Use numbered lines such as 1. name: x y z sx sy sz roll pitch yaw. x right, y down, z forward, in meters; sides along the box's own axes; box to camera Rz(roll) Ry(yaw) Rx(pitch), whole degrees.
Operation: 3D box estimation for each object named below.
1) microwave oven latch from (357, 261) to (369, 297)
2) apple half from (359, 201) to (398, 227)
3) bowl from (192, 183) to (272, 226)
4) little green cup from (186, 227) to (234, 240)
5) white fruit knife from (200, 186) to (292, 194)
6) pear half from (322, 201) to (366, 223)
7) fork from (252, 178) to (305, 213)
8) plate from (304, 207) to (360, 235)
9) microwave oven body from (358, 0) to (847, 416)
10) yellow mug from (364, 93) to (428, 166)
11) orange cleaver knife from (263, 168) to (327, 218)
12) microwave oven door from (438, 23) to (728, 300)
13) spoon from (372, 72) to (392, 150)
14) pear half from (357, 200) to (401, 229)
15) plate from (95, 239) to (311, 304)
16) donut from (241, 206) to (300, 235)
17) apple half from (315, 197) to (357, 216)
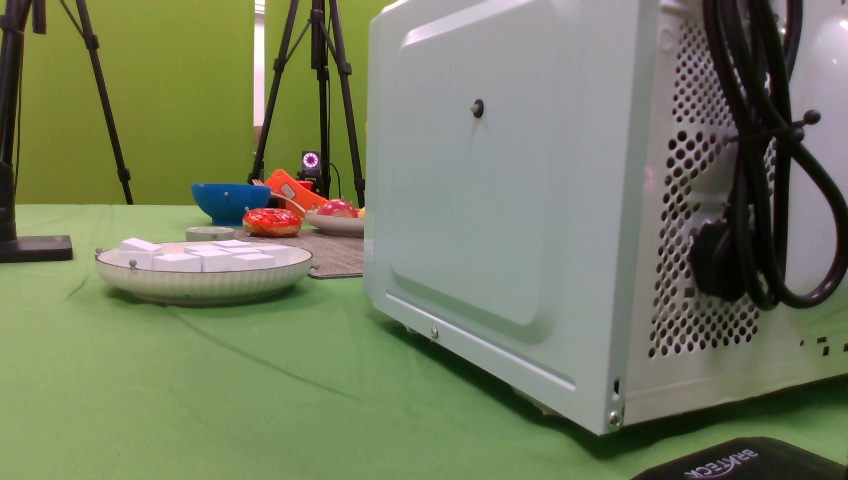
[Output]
1. microwave oven latch: -0.019 0.033 0.530 0.079 0.029 0.030 -1 7 -26
2. apple half: -0.088 -0.058 1.190 0.081 0.033 0.081 10 29 -5
3. bowl: -0.381 -0.070 1.202 0.151 0.077 0.151 3 7 0
4. little green cup: -0.285 0.005 0.805 0.061 0.038 0.061 2 8 0
5. white fruit knife: -0.399 -0.111 1.368 0.208 0.016 0.027 -4 -19 -30
6. pear half: -0.157 -0.059 1.197 0.088 0.031 0.070 12 30 -4
7. fork: -0.295 -0.084 1.292 0.206 0.018 0.028 29 10 25
8. plate: -0.123 -0.037 1.149 0.209 0.038 0.209 2 7 0
9. microwave oven body: 0.211 -0.047 0.474 0.444 0.260 0.324 -1 7 -28
10. yellow mug: -0.050 -0.198 1.053 0.100 0.131 0.064 -13 52 -11
11. orange cleaver knife: -0.262 -0.088 1.353 0.211 0.077 0.012 28 13 -1
12. microwave oven door: 0.181 -0.072 0.621 0.358 0.243 0.039 -2 8 -29
13. spoon: -0.081 -0.243 1.126 0.042 0.193 0.021 21 -38 -39
14. pear half: -0.075 -0.046 1.132 0.076 0.056 0.110 13 5 30
15. plate: -0.224 0.031 0.629 0.208 0.039 0.207 2 8 0
16. donut: -0.263 -0.032 1.039 0.099 0.048 0.099 4 10 0
17. apple half: -0.162 -0.052 1.121 0.081 0.053 0.074 4 7 -14
